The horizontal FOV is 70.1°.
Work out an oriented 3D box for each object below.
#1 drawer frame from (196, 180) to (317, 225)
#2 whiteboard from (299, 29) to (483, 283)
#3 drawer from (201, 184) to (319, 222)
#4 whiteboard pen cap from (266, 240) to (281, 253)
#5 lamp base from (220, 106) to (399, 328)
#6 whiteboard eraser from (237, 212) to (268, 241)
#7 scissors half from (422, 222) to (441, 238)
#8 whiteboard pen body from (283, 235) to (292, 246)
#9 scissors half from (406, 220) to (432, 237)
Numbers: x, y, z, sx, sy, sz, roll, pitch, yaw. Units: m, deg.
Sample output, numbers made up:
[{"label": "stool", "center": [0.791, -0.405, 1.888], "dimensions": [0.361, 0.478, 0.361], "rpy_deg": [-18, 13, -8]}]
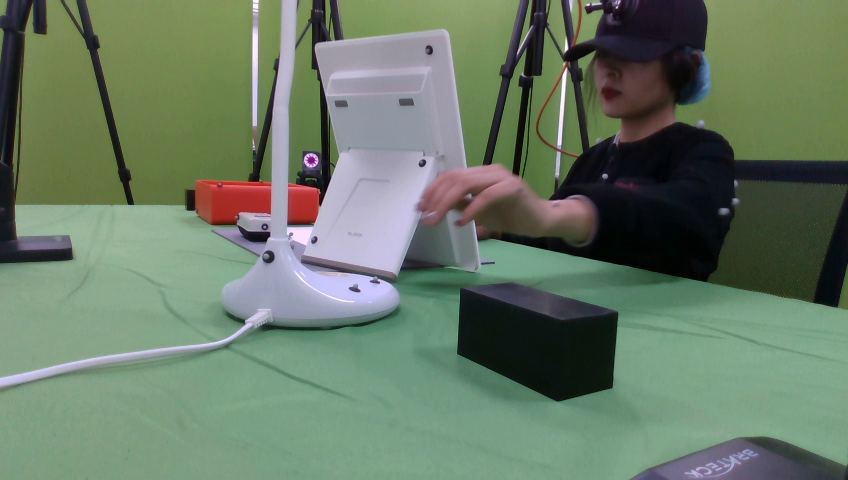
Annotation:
[{"label": "drawer frame", "center": [-0.359, -0.083, 1.292], "dimensions": [0.215, 0.082, 0.200], "rpy_deg": [-2, 10, -30]}, {"label": "whiteboard", "center": [-0.074, -0.082, 0.742], "dimensions": [0.216, 0.305, 0.144], "rpy_deg": [9, 29, 38]}, {"label": "drawer", "center": [-0.353, -0.082, 1.296], "dimensions": [0.213, 0.073, 0.193], "rpy_deg": [-2, 10, -28]}, {"label": "whiteboard pen cap", "center": [-0.202, 0.009, 0.813], "dimensions": [0.018, 0.018, 0.033], "rpy_deg": [1, 3, -8]}, {"label": "lamp base", "center": [-0.102, -0.023, 0.531], "dimensions": [0.160, 0.180, 0.179], "rpy_deg": [4, 10, 10]}, {"label": "whiteboard eraser", "center": [-0.272, -0.023, 0.998], "dimensions": [0.056, 0.042, 0.112], "rpy_deg": [-3, 9, -26]}, {"label": "scissors half", "center": [0.013, -0.018, 1.217], "dimensions": [0.040, 0.013, 0.175], "rpy_deg": [14, 9, 1]}, {"label": "whiteboard pen body", "center": [-0.206, 0.005, 0.872], "dimensions": [0.017, 0.017, 0.140], "rpy_deg": [2, 4, -6]}, {"label": "scissors half", "center": [-0.006, -0.022, 1.215], "dimensions": [0.040, 0.013, 0.174], "rpy_deg": [6, 10, -15]}]
